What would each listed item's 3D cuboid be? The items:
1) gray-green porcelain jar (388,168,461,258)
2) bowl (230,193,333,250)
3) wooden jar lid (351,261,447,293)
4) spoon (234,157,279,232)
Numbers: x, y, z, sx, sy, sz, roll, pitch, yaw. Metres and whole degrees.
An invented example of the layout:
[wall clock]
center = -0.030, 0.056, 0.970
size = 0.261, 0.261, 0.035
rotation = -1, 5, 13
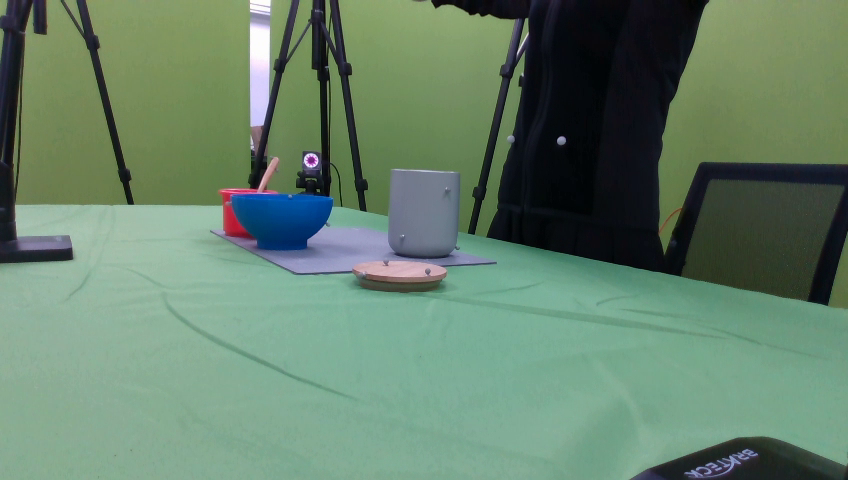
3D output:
[gray-green porcelain jar]
center = 0.000, -0.041, 0.897
size = 0.106, 0.126, 0.106
rotation = 2, 7, 0
[bowl]
center = -0.214, -0.028, 0.912
size = 0.151, 0.077, 0.151
rotation = 2, 8, 0
[wooden jar lid]
center = -0.028, 0.042, 0.687
size = 0.108, 0.020, 0.108
rotation = 3, 8, 0
[spoon]
center = -0.287, -0.084, 1.066
size = 0.041, 0.021, 0.193
rotation = 7, 52, 6
